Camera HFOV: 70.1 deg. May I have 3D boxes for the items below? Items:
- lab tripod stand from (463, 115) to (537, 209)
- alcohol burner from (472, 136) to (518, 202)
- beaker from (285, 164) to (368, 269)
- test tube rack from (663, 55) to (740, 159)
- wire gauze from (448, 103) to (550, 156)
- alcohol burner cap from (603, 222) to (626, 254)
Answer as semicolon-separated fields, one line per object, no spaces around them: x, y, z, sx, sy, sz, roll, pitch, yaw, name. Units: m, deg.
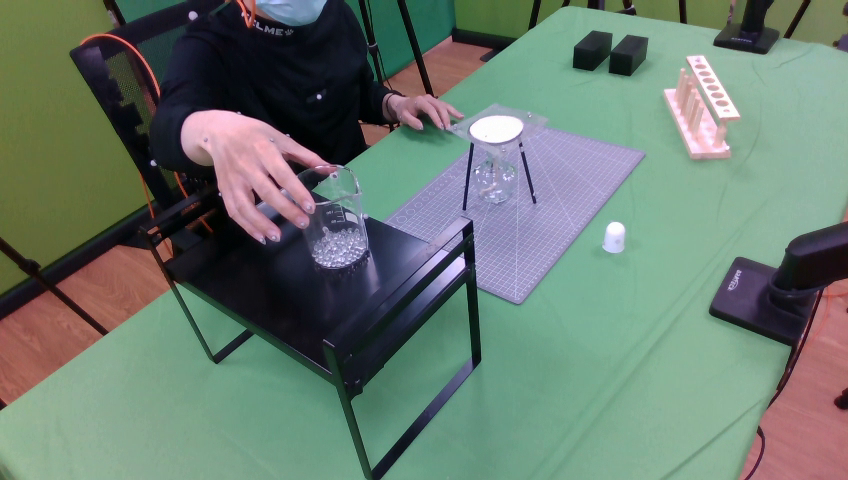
0.120;-0.134;1.018;0.148;0.132;0.147;-5;39;5;lab tripod stand
0.121;-0.124;1.023;0.078;0.119;0.077;-3;41;3;alcohol burner
-0.102;-0.023;0.676;0.083;0.101;0.074;8;44;17;beaker
0.518;-0.256;1.144;0.066;0.085;0.241;-1;41;8;test tube rack
0.119;-0.184;0.973;0.122;0.011;0.124;-34;45;-28;wire gauze
0.291;-0.006;0.921;0.034;0.048;0.033;-4;40;4;alcohol burner cap
